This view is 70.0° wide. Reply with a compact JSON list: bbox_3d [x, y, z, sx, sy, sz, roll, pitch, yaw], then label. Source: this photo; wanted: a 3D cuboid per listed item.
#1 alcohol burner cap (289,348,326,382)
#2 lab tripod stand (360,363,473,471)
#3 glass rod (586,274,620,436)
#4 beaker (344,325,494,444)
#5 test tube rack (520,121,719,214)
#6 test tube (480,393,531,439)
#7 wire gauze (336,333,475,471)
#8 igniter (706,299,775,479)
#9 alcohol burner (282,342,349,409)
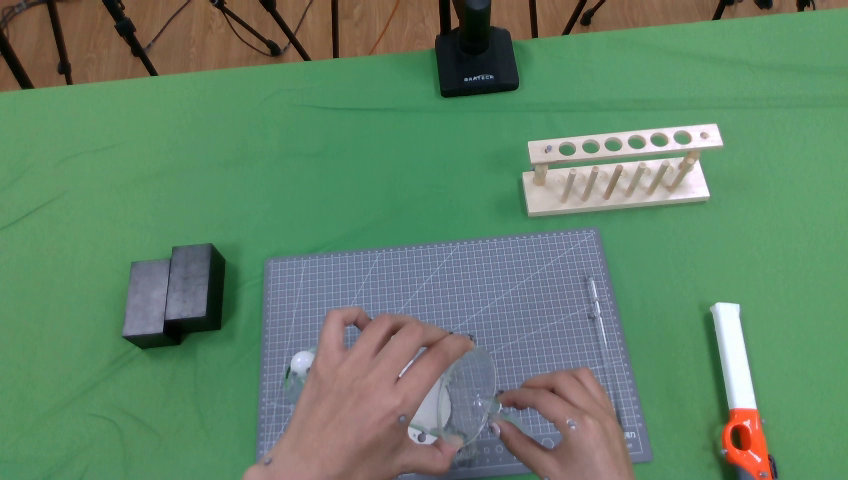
[{"bbox_3d":[-0.128,0.133,0.653,0.034,0.048,0.033,-3,68,7],"label":"alcohol burner cap"},{"bbox_3d":[-0.016,0.188,0.650,0.148,0.132,0.147,-2,63,4],"label":"lab tripod stand"},{"bbox_3d":[0.216,0.134,0.734,0.008,0.008,0.198,-4,67,1],"label":"glass rod"},{"bbox_3d":[-0.005,0.109,0.476,0.099,0.085,0.073,7,75,37],"label":"beaker"},{"bbox_3d":[0.255,-0.094,0.803,0.242,0.086,0.066,-5,64,1],"label":"test tube rack"},{"bbox_3d":[0.075,0.160,0.542,0.017,0.152,0.017,-9,62,17],"label":"test tube"},{"bbox_3d":[-0.021,0.155,0.591,0.125,0.011,0.120,-8,63,-1],"label":"wire gauze"},{"bbox_3d":[0.359,0.199,0.689,0.057,0.025,0.274,6,64,-6],"label":"igniter"},{"bbox_3d":[-0.126,0.148,0.686,0.078,0.120,0.077,-1,62,3],"label":"alcohol burner"}]
